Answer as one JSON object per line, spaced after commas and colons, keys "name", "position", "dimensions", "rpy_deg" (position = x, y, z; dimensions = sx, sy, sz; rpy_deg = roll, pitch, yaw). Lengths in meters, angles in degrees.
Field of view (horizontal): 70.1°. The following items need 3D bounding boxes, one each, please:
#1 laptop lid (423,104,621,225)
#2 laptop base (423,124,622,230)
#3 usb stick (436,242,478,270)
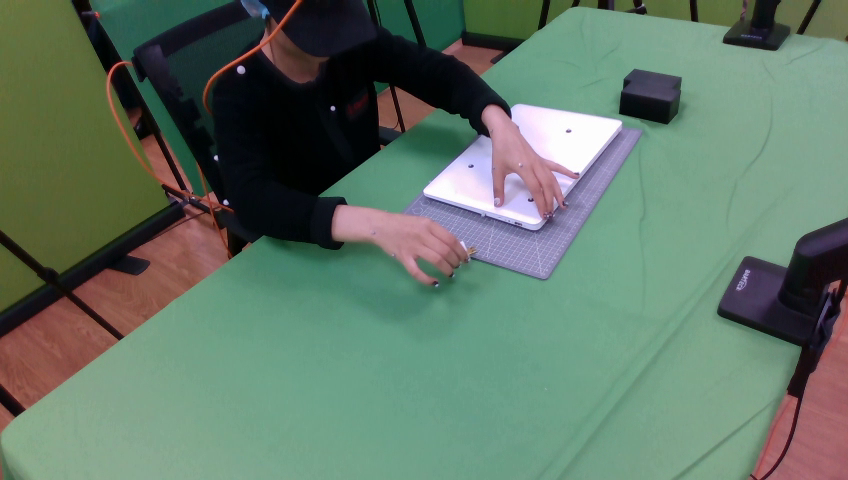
{"name": "laptop lid", "position": [0.187, -0.157, 1.115], "dimensions": [0.240, 0.013, 0.357], "rpy_deg": [20, 48, 33]}
{"name": "laptop base", "position": [0.190, -0.147, 1.122], "dimensions": [0.233, 0.023, 0.355], "rpy_deg": [17, 47, 33]}
{"name": "usb stick", "position": [0.050, 0.021, 0.900], "dimensions": [0.059, 0.027, 0.021], "rpy_deg": [-19, 50, -2]}
